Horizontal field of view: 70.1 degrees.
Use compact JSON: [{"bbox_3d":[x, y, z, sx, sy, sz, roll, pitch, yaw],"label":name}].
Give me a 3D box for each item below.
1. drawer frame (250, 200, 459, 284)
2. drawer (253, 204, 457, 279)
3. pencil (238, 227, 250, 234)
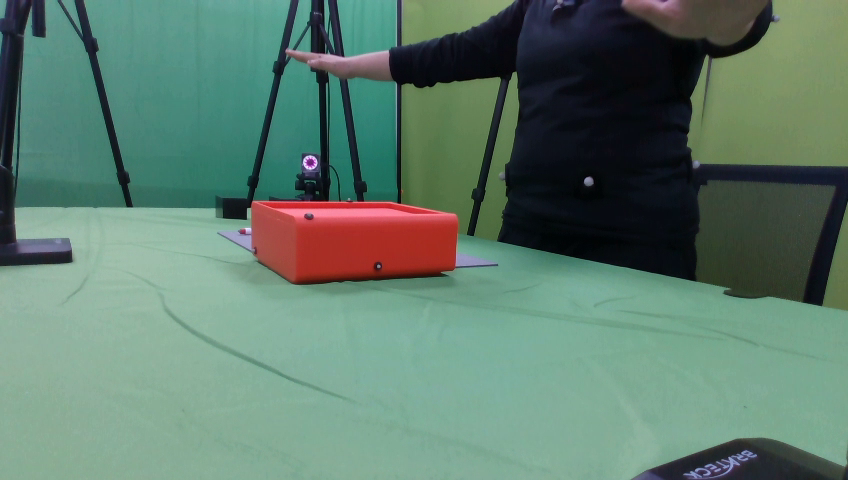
[{"bbox_3d":[-0.096,-0.005,0.788,0.215,0.082,0.200,-3,10,-30],"label":"drawer frame"},{"bbox_3d":[-0.095,-0.004,0.791,0.213,0.073,0.193,-3,10,-30],"label":"drawer"},{"bbox_3d":[-0.240,-0.015,1.105,0.195,0.012,0.012,1,7,-30],"label":"pencil"}]
